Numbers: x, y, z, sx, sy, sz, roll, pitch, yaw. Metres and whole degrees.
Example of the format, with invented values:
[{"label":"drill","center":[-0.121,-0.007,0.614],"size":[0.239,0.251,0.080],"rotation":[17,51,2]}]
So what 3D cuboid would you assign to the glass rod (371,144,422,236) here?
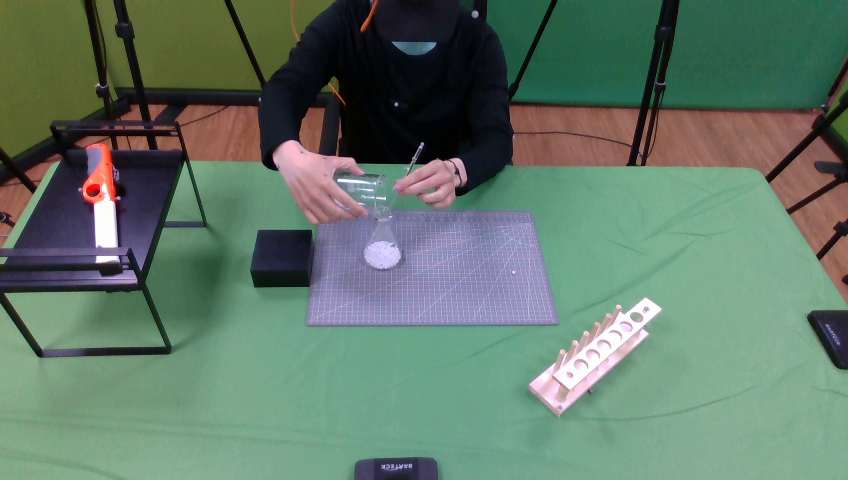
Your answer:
[{"label":"glass rod","center":[-0.051,-0.085,1.071],"size":[0.008,0.200,0.008],"rotation":[24,29,-14]}]

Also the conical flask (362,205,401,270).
[{"label":"conical flask","center":[-0.078,-0.008,1.127],"size":[0.075,0.122,0.075],"rotation":[2,46,-2]}]

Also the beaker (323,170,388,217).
[{"label":"beaker","center":[-0.121,-0.083,1.071],"size":[0.100,0.084,0.073],"rotation":[7,34,13]}]

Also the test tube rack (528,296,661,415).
[{"label":"test tube rack","center":[0.285,0.178,1.005],"size":[0.242,0.085,0.066],"rotation":[-31,55,-29]}]

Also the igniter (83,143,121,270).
[{"label":"igniter","center":[-0.509,-0.063,0.961],"size":[0.057,0.025,0.274],"rotation":[-14,53,-17]}]
